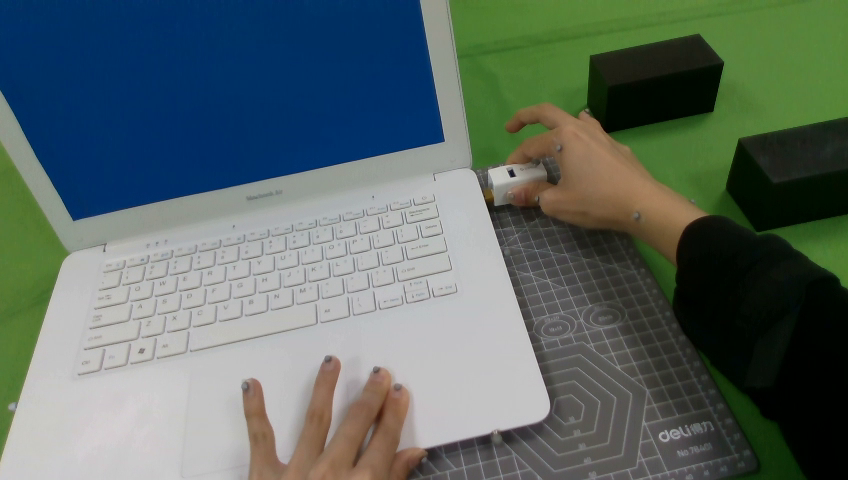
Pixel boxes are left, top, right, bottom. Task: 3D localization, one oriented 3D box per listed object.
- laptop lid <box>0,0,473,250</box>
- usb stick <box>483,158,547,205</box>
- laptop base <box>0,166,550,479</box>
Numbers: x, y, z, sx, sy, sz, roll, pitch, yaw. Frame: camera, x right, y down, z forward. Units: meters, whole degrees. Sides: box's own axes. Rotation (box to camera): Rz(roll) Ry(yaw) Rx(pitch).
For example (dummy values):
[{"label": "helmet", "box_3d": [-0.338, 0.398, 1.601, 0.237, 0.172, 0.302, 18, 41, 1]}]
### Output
[{"label": "laptop lid", "box_3d": [-0.150, -0.120, 0.456, 0.357, 0.244, 0.013, -13, 32, 0]}, {"label": "usb stick", "box_3d": [0.068, -0.046, 0.488, 0.059, 0.027, 0.021, -15, 46, 0]}, {"label": "laptop base", "box_3d": [-0.111, 0.062, 0.441, 0.354, 0.023, 0.233, -12, 51, -1]}]
